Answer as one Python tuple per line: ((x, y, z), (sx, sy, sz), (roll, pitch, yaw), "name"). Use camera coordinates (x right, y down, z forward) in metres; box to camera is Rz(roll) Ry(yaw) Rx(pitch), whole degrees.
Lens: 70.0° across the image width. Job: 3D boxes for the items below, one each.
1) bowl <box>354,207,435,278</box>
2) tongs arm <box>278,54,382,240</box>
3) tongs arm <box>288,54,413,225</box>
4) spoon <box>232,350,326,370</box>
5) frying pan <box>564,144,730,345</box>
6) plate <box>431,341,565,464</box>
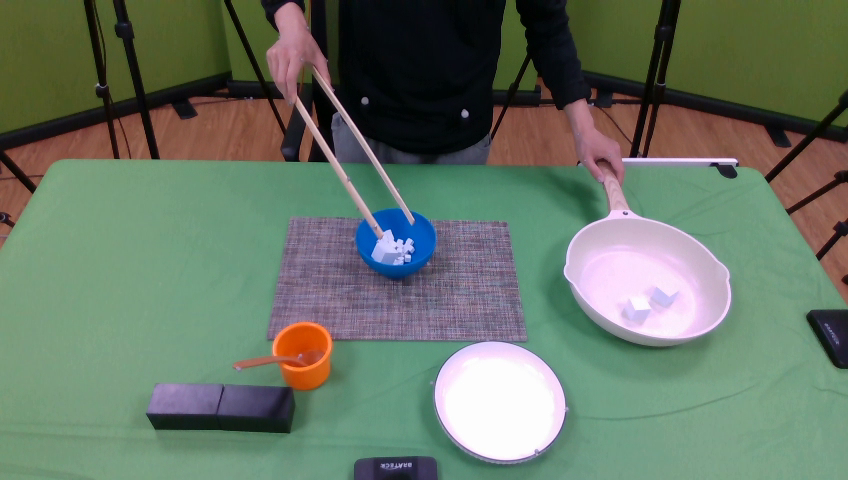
((-0.055, 0.018, 1.132), (0.151, 0.077, 0.150), (2, 46, -2), "bowl")
((-0.163, -0.169, 1.072), (0.051, 0.026, 0.383), (-30, 79, -23), "tongs arm")
((-0.131, -0.185, 1.089), (0.028, 0.028, 0.386), (-31, 79, -20), "tongs arm")
((-0.216, 0.182, 0.919), (0.041, 0.194, 0.021), (42, 101, 28), "spoon")
((0.396, -0.008, 1.179), (0.307, 0.103, 0.484), (0, 55, -5), "frying pan")
((0.114, 0.255, 0.951), (0.208, 0.039, 0.206), (3, 46, -2), "plate")
